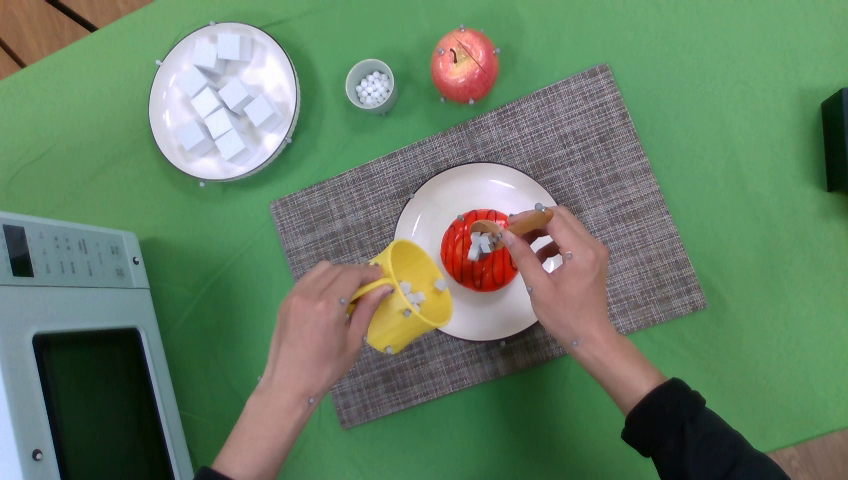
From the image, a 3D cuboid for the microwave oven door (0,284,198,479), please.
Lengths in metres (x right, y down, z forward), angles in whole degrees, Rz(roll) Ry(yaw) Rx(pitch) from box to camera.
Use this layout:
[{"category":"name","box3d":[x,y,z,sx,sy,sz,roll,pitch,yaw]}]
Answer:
[{"category":"microwave oven door","box3d":[-0.344,0.221,0.655,0.039,0.245,0.354,-18,82,10]}]

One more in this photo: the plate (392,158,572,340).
[{"category":"plate","box3d":[0.065,0.010,0.705,0.209,0.038,0.208,-1,86,12]}]

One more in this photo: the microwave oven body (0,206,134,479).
[{"category":"microwave oven body","box3d":[-0.492,0.225,0.690,0.326,0.261,0.440,-18,83,9]}]

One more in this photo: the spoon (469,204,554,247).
[{"category":"spoon","box3d":[0.080,-0.012,0.567,0.042,0.193,0.021,44,81,-5]}]

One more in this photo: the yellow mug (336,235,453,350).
[{"category":"yellow mug","box3d":[-0.034,0.053,0.599,0.064,0.132,0.099,-32,71,26]}]

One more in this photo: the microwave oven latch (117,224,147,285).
[{"category":"microwave oven latch","box3d":[-0.383,0.020,0.781,0.030,0.029,0.079,-16,84,10]}]

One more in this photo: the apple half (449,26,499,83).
[{"category":"apple half","box3d":[0.066,-0.221,0.706,0.033,0.081,0.081,-42,79,10]}]

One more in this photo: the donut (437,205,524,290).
[{"category":"donut","box3d":[0.065,0.009,0.694,0.099,0.048,0.099,0,88,11]}]

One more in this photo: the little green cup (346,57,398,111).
[{"category":"little green cup","box3d":[-0.062,-0.190,0.748,0.061,0.039,0.061,-1,85,12]}]

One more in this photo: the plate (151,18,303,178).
[{"category":"plate","box3d":[-0.251,-0.180,0.787,0.207,0.039,0.207,-1,86,12]}]

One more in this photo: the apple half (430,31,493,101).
[{"category":"apple half","box3d":[0.038,-0.195,0.711,0.053,0.075,0.080,-42,82,11]}]
